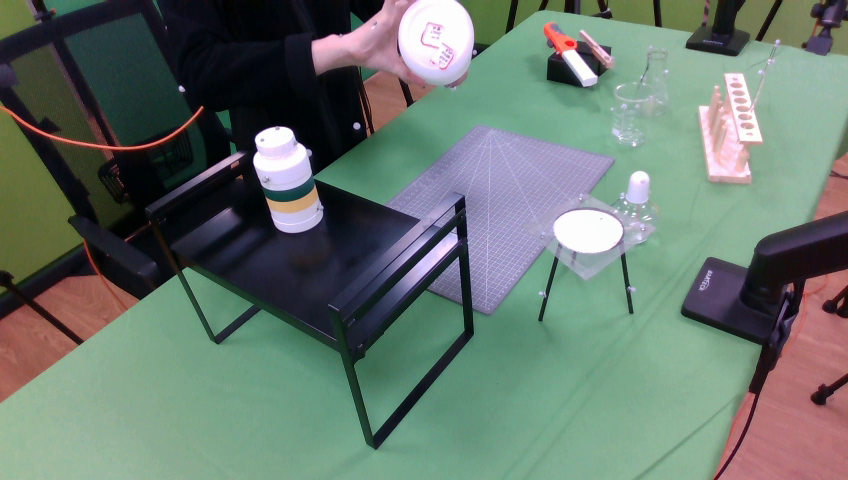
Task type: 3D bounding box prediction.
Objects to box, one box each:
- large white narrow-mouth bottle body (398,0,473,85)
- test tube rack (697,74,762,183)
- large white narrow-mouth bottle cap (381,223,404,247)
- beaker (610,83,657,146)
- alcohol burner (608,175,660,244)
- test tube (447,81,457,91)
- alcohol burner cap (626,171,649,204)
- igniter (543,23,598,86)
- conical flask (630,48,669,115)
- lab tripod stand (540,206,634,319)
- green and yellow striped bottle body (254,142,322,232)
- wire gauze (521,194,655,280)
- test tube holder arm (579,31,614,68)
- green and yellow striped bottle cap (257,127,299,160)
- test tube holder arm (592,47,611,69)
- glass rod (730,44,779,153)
[{"bbox_3d":[0.020,-0.276,0.866,0.102,0.102,0.194,-4,9,4],"label":"large white narrow-mouth bottle body"},{"bbox_3d":[0.547,-0.208,1.095,0.066,0.085,0.242,5,42,15],"label":"test tube rack"},{"bbox_3d":[-0.052,-0.009,0.992,0.038,0.024,0.037,-5,39,4],"label":"large white narrow-mouth bottle cap"},{"bbox_3d":[0.388,-0.235,1.138,0.074,0.101,0.083,-31,45,-26],"label":"beaker"},{"bbox_3d":[0.323,-0.053,0.924,0.078,0.119,0.077,-4,43,4],"label":"alcohol burner"},{"bbox_3d":[0.042,-0.279,1.035,0.017,0.017,0.150,1,1,9],"label":"test tube"},{"bbox_3d":[0.320,-0.081,0.900,0.034,0.048,0.033,-4,42,4],"label":"alcohol burner cap"},{"bbox_3d":[0.320,-0.419,1.345,0.057,0.025,0.274,-12,44,-3],"label":"igniter"},{"bbox_3d":[0.456,-0.317,1.205,0.075,0.122,0.075,-4,41,4],"label":"conical flask"},{"bbox_3d":[0.218,0.034,0.821,0.148,0.132,0.147,-4,42,4],"label":"lab tripod stand"},{"bbox_3d":[-0.165,-0.073,0.732,0.063,0.120,0.063,-4,41,4],"label":"green and yellow striped bottle body"},{"bbox_3d":[0.207,-0.012,0.772,0.122,0.011,0.124,-28,44,-20],"label":"wire gauze"},{"bbox_3d":[0.384,-0.428,1.351,0.013,0.015,0.177,-11,41,-4],"label":"test tube holder arm"},{"bbox_3d":[-0.169,-0.112,0.698,0.045,0.020,0.045,-5,40,5],"label":"green and yellow striped bottle cap"},{"bbox_3d":[0.386,-0.398,1.317,0.010,0.015,0.087,-10,41,-3],"label":"test tube holder arm"},{"bbox_3d":[0.555,-0.234,1.020,0.008,0.200,0.008,2,40,-1],"label":"glass rod"}]
